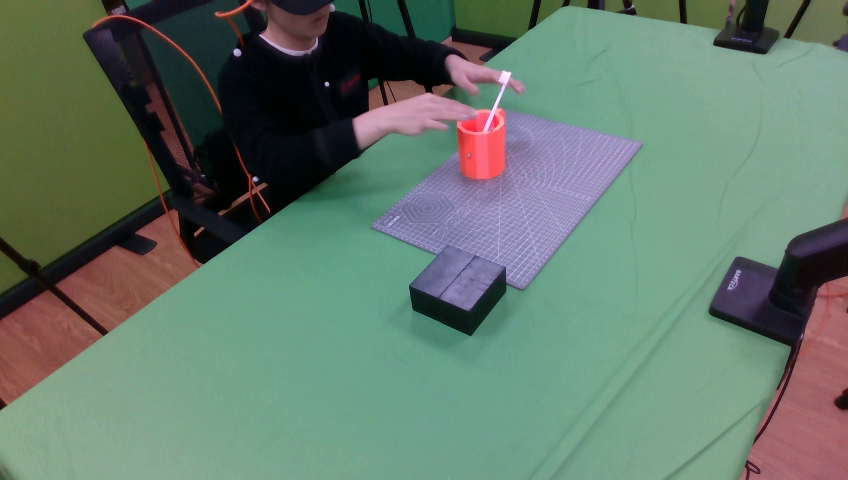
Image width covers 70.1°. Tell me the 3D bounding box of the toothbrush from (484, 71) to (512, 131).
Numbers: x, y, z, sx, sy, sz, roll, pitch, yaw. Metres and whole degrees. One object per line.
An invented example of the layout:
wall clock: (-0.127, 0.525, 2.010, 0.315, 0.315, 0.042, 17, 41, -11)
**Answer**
toothbrush: (0.118, -0.216, 1.087, 0.017, 0.182, 0.014, 18, 14, -14)

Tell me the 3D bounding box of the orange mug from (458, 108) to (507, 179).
orange mug: (0.117, -0.187, 1.112, 0.083, 0.101, 0.126, 19, 51, 28)
